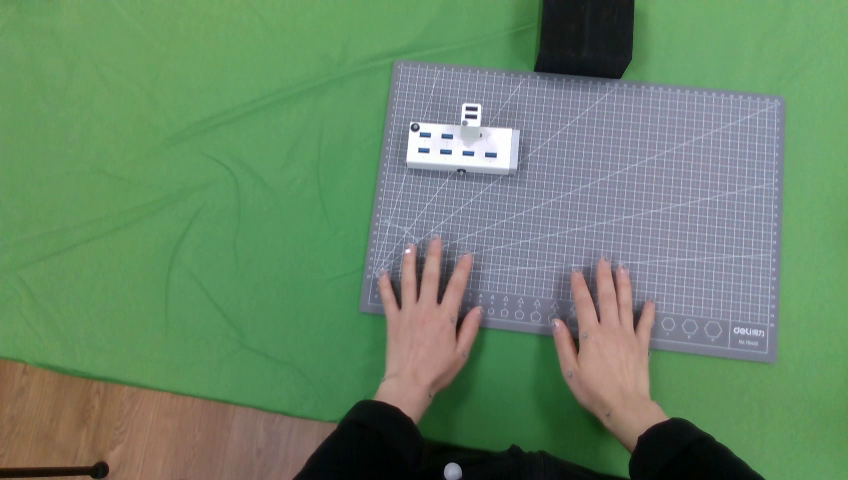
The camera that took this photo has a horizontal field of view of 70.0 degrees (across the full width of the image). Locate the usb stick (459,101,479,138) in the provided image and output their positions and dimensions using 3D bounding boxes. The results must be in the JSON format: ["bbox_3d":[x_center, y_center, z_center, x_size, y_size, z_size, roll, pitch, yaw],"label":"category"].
[{"bbox_3d":[0.048,-0.127,0.653,0.021,0.059,0.027,2,77,4],"label":"usb stick"}]

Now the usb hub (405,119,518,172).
[{"bbox_3d":[0.042,-0.107,0.683,0.125,0.025,0.049,5,81,3],"label":"usb hub"}]
